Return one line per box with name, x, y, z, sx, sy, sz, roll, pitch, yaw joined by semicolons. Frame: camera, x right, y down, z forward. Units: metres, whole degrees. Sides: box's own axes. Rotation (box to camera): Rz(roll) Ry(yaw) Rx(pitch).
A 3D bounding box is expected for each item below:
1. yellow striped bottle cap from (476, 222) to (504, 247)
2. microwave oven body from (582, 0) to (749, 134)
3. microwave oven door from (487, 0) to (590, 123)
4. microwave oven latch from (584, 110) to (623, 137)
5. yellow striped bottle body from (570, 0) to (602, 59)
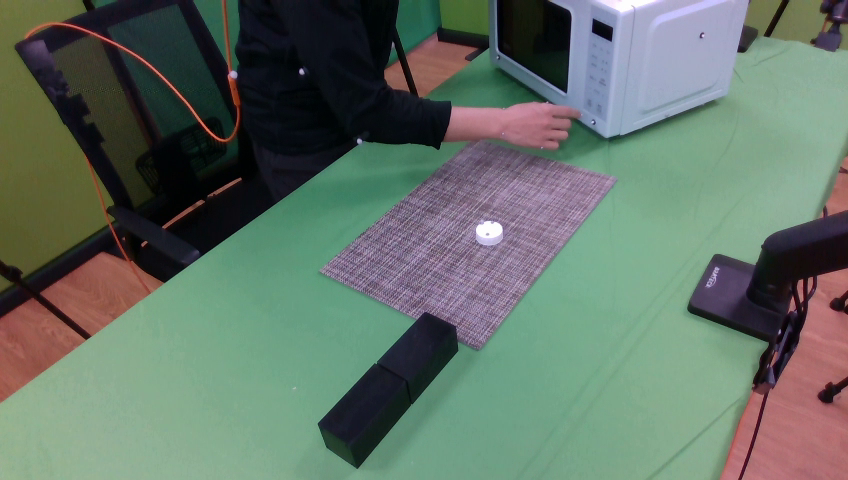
yellow striped bottle cap;0.105;-0.010;0.966;0.044;0.019;0.044;-4;39;3
microwave oven body;0.382;-0.444;1.246;0.327;0.261;0.437;-22;42;-16
microwave oven door;0.231;-0.419;1.230;0.039;0.245;0.352;-22;43;-16
microwave oven latch;0.337;-0.222;1.142;0.030;0.029;0.078;-21;42;-14
yellow striped bottle body;0.339;-0.448;1.266;0.063;0.121;0.062;-5;45;6
